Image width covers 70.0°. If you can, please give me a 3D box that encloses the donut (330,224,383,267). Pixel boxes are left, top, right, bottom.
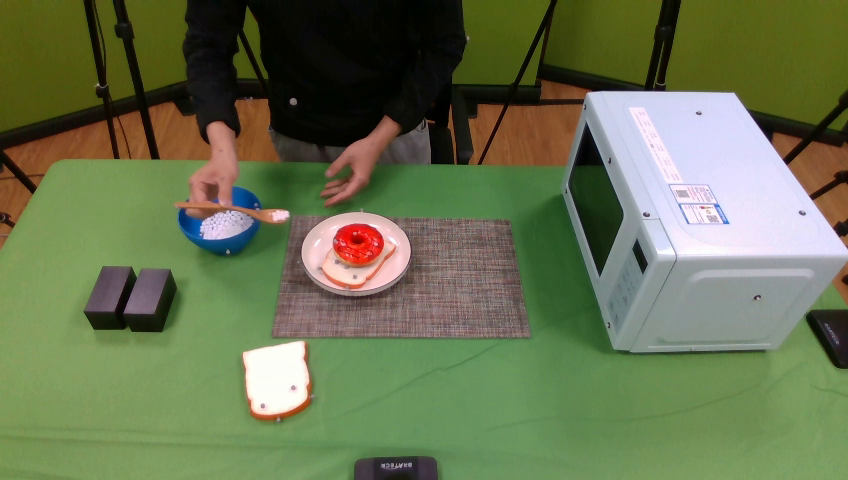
[{"bbox_3d":[-0.125,0.010,1.127,0.099,0.048,0.098,3,45,-3],"label":"donut"}]

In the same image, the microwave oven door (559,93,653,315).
[{"bbox_3d":[0.327,-0.074,1.123,0.039,0.245,0.353,-1,46,-5],"label":"microwave oven door"}]

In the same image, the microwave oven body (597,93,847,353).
[{"bbox_3d":[0.475,-0.041,1.109,0.326,0.261,0.438,-1,45,-4],"label":"microwave oven body"}]

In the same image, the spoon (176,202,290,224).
[{"bbox_3d":[-0.320,-0.050,1.029,0.194,0.022,0.041,9,35,-38],"label":"spoon"}]

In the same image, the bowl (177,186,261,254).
[{"bbox_3d":[-0.383,-0.026,1.158,0.151,0.077,0.150,2,46,-2],"label":"bowl"}]

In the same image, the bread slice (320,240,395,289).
[{"bbox_3d":[-0.129,0.037,1.141,0.107,0.018,0.134,19,47,14],"label":"bread slice"}]

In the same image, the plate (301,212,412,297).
[{"bbox_3d":[-0.126,0.031,1.145,0.208,0.039,0.206,2,46,-2],"label":"plate"}]

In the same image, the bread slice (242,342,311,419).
[{"bbox_3d":[-0.234,0.223,0.970,0.105,0.019,0.130,-10,46,-13],"label":"bread slice"}]

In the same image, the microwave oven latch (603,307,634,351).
[{"bbox_3d":[0.332,0.153,1.044,0.030,0.029,0.078,0,45,-3],"label":"microwave oven latch"}]
